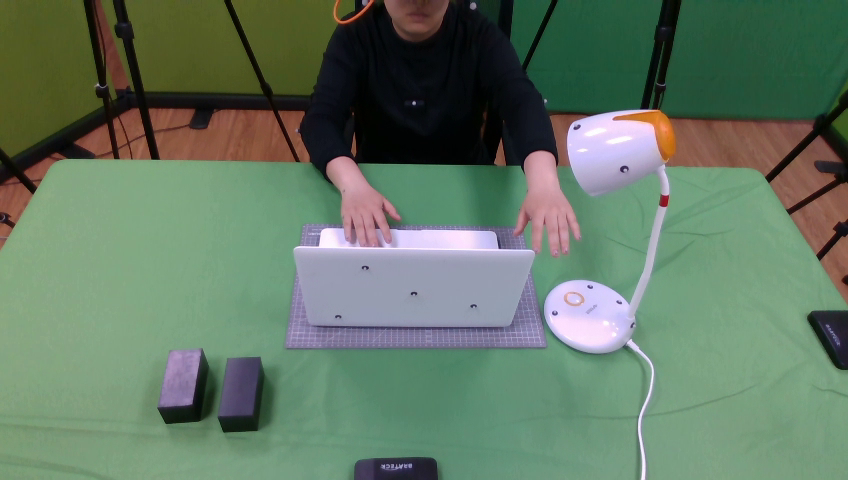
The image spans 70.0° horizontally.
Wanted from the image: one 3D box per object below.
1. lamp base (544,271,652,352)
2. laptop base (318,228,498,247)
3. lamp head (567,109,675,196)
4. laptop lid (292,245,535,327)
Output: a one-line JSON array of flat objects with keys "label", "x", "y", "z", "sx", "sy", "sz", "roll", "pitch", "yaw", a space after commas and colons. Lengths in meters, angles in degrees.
[{"label": "lamp base", "x": 0.310, "y": 0.086, "z": 1.029, "sx": 0.178, "sy": 0.181, "sz": 0.160, "roll": 32, "pitch": 52, "yaw": 21}, {"label": "laptop base", "x": -0.028, "y": 0.066, "z": 1.134, "sx": 0.355, "sy": 0.023, "sz": 0.234, "roll": 1, "pitch": 42, "yaw": -4}, {"label": "lamp head", "x": 0.272, "y": -0.123, "z": 0.818, "sx": 0.122, "sy": 0.113, "sz": 0.112, "roll": -9, "pitch": 35, "yaw": 37}, {"label": "laptop lid", "x": -0.018, "y": 0.080, "z": 0.956, "sx": 0.357, "sy": 0.243, "sz": 0.013, "roll": 2, "pitch": 54, "yaw": -5}]
